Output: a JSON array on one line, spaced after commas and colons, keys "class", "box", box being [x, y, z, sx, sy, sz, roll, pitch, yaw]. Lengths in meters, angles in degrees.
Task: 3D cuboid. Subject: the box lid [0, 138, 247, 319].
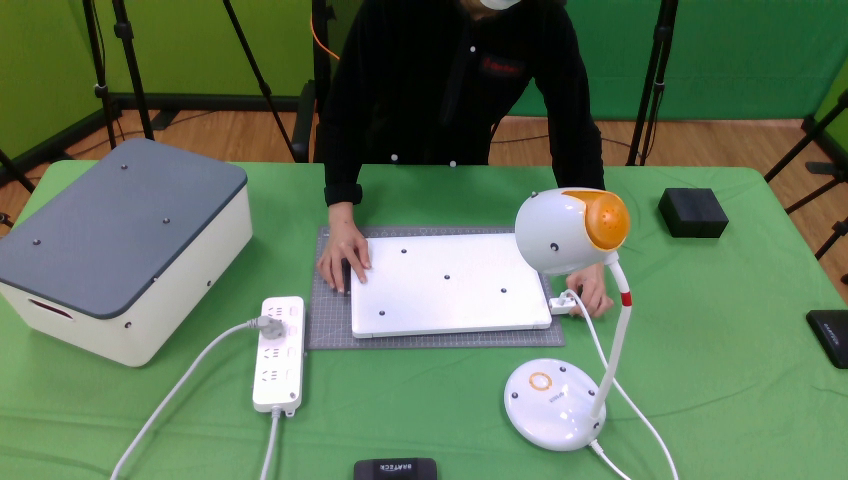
[{"class": "box lid", "box": [-0.493, -0.037, 0.994, 0.263, 0.015, 0.370, 17, 46, 12]}]

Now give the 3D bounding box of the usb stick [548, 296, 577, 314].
[{"class": "usb stick", "box": [0.241, 0.118, 1.087, 0.059, 0.027, 0.021, -6, 52, -3]}]

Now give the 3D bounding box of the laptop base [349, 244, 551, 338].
[{"class": "laptop base", "box": [0.040, 0.081, 1.126, 0.355, 0.023, 0.234, -2, 43, -6]}]

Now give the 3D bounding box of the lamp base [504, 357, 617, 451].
[{"class": "lamp base", "box": [0.220, 0.211, 0.903, 0.160, 0.181, 0.178, -33, 59, -30]}]

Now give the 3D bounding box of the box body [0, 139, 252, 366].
[{"class": "box body", "box": [-0.496, 0.013, 1.049, 0.254, 0.161, 0.362, 17, 47, 12]}]

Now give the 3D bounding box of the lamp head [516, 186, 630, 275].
[{"class": "lamp head", "box": [0.188, -0.013, 0.728, 0.112, 0.112, 0.122, -24, 9, -25]}]

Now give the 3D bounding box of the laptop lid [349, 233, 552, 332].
[{"class": "laptop lid", "box": [0.040, 0.071, 1.119, 0.357, 0.013, 0.240, -1, 43, -5]}]

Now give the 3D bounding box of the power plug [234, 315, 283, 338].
[{"class": "power plug", "box": [-0.269, 0.144, 1.000, 0.072, 0.053, 0.035, 4, 47, 2]}]

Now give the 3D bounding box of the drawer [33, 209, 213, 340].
[{"class": "drawer", "box": [-0.509, 0.054, 1.046, 0.194, 0.073, 0.211, 15, 43, 10]}]

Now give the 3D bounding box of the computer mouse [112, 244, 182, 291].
[{"class": "computer mouse", "box": [-0.493, 0.046, 1.078, 0.117, 0.041, 0.062, 24, 41, 13]}]

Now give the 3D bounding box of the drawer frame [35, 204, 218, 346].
[{"class": "drawer frame", "box": [-0.505, 0.054, 1.052, 0.201, 0.083, 0.212, 14, 52, 12]}]

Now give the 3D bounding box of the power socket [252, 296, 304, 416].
[{"class": "power socket", "box": [-0.238, 0.182, 0.997, 0.072, 0.033, 0.225, -3, 47, -5]}]
